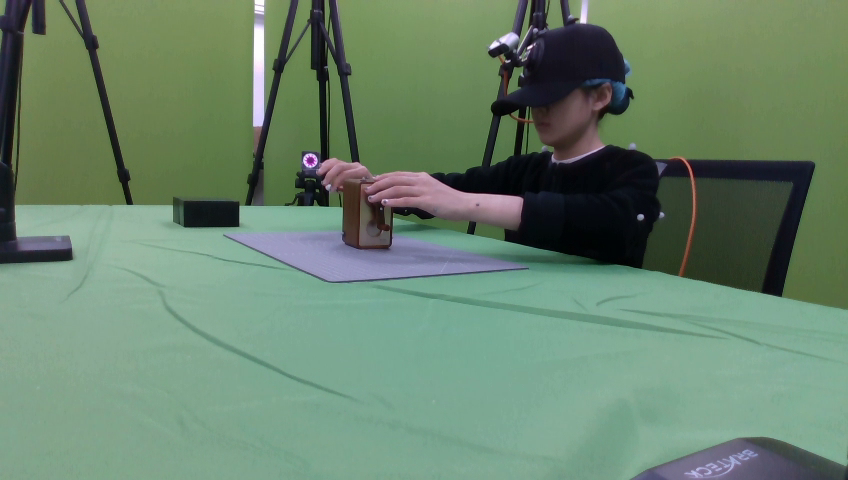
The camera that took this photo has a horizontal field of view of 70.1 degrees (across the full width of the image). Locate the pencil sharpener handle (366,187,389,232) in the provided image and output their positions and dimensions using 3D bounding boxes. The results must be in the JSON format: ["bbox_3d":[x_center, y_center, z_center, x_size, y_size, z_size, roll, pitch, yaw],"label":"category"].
[{"bbox_3d":[-0.065,-0.046,0.915,0.036,0.068,0.030,-10,13,-27],"label":"pencil sharpener handle"}]

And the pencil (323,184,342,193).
[{"bbox_3d":[-0.141,-0.085,1.051,0.012,0.012,0.193,-1,9,-28],"label":"pencil"}]

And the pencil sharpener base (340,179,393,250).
[{"bbox_3d":[-0.091,-0.041,0.960,0.061,0.107,0.076,0,9,-28],"label":"pencil sharpener base"}]
